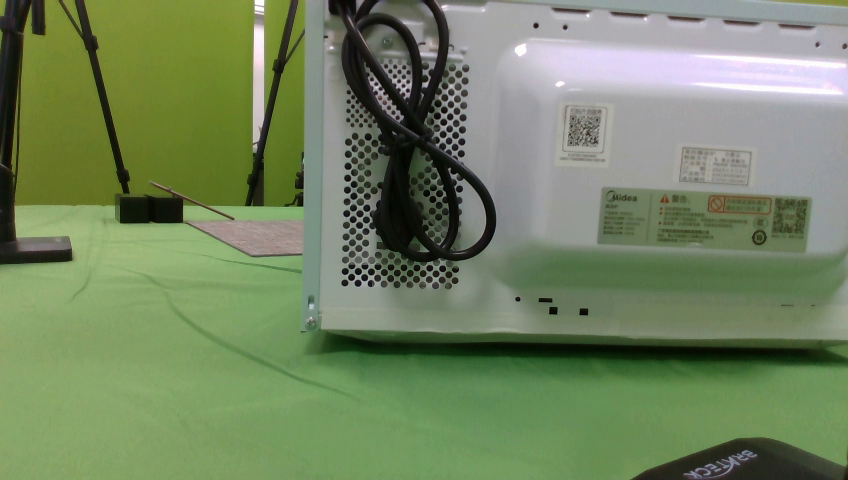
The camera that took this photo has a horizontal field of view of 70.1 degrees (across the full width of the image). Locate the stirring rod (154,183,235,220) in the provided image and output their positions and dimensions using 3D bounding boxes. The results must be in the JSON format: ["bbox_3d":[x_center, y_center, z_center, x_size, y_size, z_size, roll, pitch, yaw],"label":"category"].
[{"bbox_3d":[-0.472,-0.079,1.252,0.177,0.006,0.014,27,3,-35],"label":"stirring rod"}]

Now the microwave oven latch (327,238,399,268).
[{"bbox_3d":[-0.069,0.015,0.694,0.079,0.029,0.030,3,7,-3],"label":"microwave oven latch"}]

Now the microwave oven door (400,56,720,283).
[{"bbox_3d":[0.155,-0.077,0.698,0.356,0.243,0.039,2,8,-5],"label":"microwave oven door"}]

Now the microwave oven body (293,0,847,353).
[{"bbox_3d":[0.122,-0.055,0.550,0.442,0.260,0.325,3,7,-5],"label":"microwave oven body"}]
